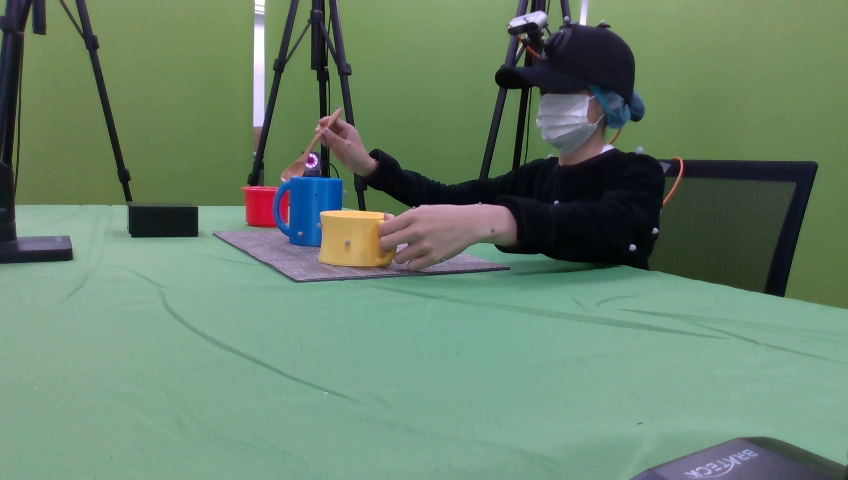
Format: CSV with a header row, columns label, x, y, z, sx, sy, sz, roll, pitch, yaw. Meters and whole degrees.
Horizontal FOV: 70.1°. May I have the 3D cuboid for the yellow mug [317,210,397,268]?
label,x,y,z,sx,sy,sz,roll,pitch,yaw
yellow mug,-0.080,-0.001,0.796,0.130,0.064,0.100,11,11,44

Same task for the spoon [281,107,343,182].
label,x,y,z,sx,sy,sz,roll,pitch,yaw
spoon,-0.219,-0.190,1.204,0.041,0.193,0.022,30,-8,30

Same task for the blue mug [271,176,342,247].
label,x,y,z,sx,sy,sz,roll,pitch,yaw
blue mug,-0.190,-0.047,0.963,0.116,0.106,0.082,4,7,13
